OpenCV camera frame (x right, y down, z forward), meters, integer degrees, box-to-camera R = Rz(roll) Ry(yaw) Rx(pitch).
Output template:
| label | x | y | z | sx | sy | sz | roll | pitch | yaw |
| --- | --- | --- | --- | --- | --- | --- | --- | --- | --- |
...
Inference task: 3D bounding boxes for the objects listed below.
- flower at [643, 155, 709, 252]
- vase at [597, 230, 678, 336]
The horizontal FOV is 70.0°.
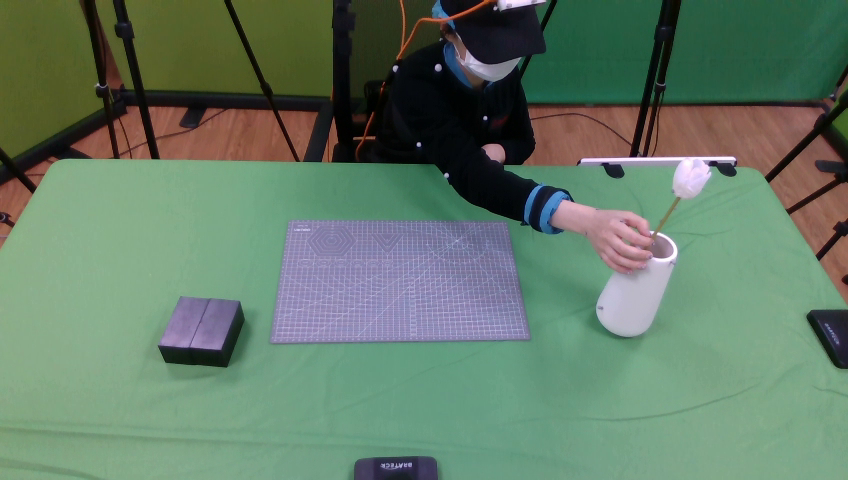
| label | x | y | z | sx | sy | sz | roll | pitch | yaw |
| --- | --- | --- | --- | --- | --- | --- | --- | --- | --- |
| flower | 0.354 | 0.012 | 0.966 | 0.044 | 0.363 | 0.038 | 30 | 51 | 17 |
| vase | 0.360 | 0.077 | 1.026 | 0.098 | 0.201 | 0.097 | 1 | 47 | -1 |
